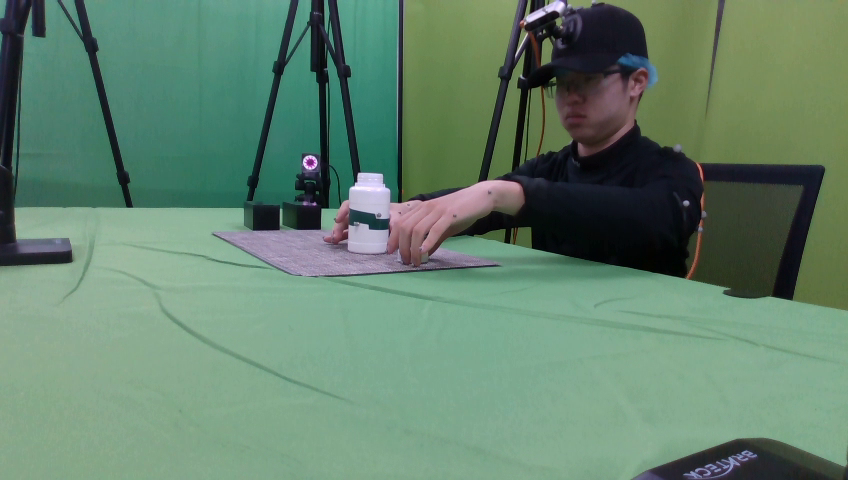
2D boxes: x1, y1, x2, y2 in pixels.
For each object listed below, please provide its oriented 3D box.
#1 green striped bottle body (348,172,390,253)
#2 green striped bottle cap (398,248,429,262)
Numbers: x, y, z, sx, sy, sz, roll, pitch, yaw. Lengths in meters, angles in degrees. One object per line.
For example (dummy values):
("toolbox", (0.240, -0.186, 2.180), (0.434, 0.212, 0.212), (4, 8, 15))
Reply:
("green striped bottle body", (-0.083, -0.043, 0.912), (0.063, 0.119, 0.063), (2, 7, 0))
("green striped bottle cap", (-0.016, 0.022, 0.851), (0.044, 0.020, 0.044), (-3, 1, 0))
